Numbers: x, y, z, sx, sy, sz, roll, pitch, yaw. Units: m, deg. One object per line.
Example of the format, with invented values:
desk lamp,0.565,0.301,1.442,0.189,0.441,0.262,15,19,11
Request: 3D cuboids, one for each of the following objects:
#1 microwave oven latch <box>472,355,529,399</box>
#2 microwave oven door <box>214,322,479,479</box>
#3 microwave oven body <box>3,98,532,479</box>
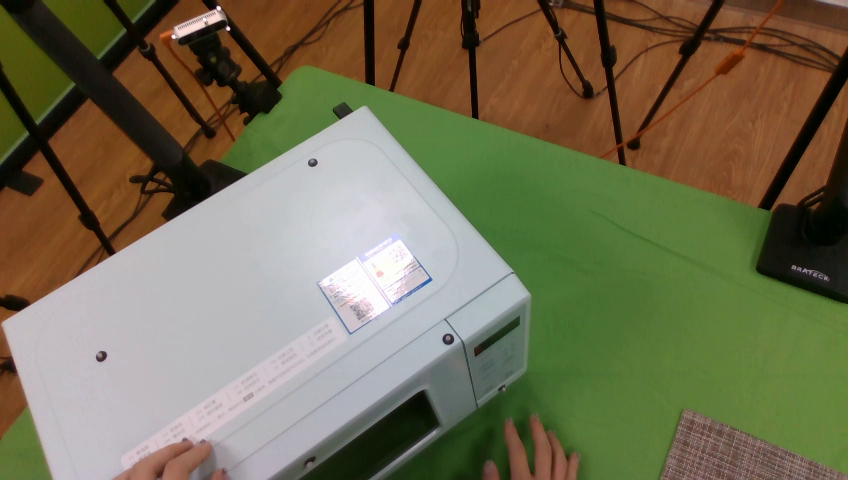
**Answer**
microwave oven latch,0.091,0.159,0.738,0.079,0.030,0.030,-32,62,-9
microwave oven door,-0.103,0.229,0.610,0.356,0.246,0.039,-34,61,-11
microwave oven body,-0.150,0.109,0.689,0.442,0.262,0.323,-34,63,-10
